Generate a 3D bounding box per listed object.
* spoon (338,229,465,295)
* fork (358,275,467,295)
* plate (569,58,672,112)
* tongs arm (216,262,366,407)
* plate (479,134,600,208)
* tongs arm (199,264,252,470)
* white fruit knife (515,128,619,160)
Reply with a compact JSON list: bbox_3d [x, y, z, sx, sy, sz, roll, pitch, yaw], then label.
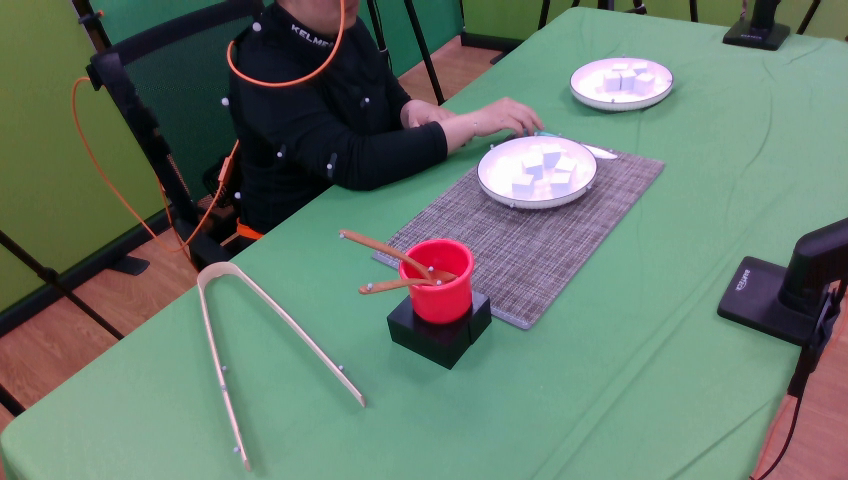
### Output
[{"bbox_3d":[-0.025,0.026,0.776,0.021,0.195,0.041,-41,34,32],"label":"spoon"},{"bbox_3d":[-0.009,0.056,0.739,0.028,0.018,0.209,48,23,26],"label":"fork"},{"bbox_3d":[0.411,-0.323,1.274,0.209,0.038,0.208,-5,41,5],"label":"plate"},{"bbox_3d":[-0.201,0.122,0.871,0.028,0.028,0.384,-36,46,-24],"label":"tongs arm"},{"bbox_3d":[0.202,-0.117,1.065,0.207,0.039,0.206,-5,40,5],"label":"plate"},{"bbox_3d":[-0.270,0.154,0.841,0.051,0.026,0.381,-23,41,-17],"label":"tongs arm"},{"bbox_3d":[0.269,-0.182,1.148,0.206,0.016,0.027,21,77,29],"label":"white fruit knife"}]
